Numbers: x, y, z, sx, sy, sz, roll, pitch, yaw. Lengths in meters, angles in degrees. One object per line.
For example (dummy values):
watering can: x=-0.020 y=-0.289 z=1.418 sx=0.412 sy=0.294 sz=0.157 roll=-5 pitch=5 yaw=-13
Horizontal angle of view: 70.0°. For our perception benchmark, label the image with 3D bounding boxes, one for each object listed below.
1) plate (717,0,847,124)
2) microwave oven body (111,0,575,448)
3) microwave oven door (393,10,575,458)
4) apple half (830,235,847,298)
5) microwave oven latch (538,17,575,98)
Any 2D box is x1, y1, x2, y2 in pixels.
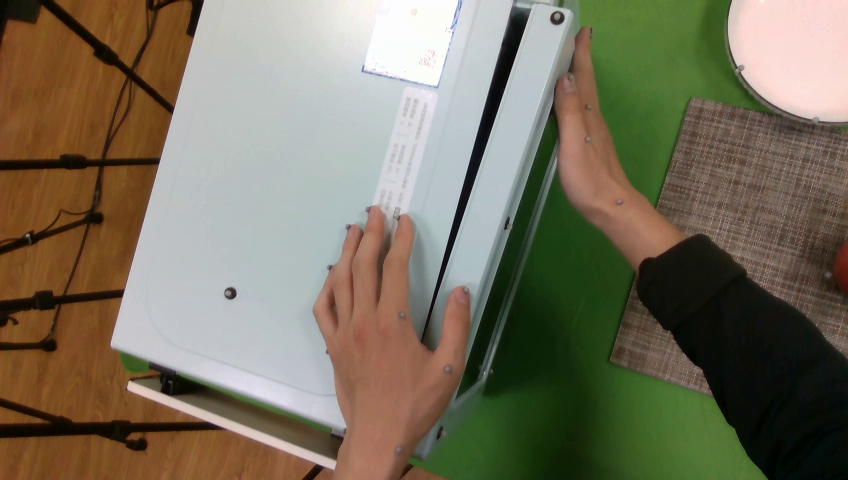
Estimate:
plate: x=0.410 y=-0.219 z=0.621 sx=0.207 sy=0.039 sz=0.207 roll=-1 pitch=86 yaw=14
microwave oven body: x=-0.064 y=-0.075 z=0.612 sx=0.325 sy=0.261 sz=0.441 roll=15 pitch=91 yaw=14
microwave oven door: x=0.068 y=0.004 z=0.569 sx=0.039 sy=0.245 sz=0.355 roll=18 pitch=91 yaw=16
apple half: x=0.420 y=0.026 z=0.579 sx=0.053 sy=0.075 sz=0.080 roll=-4 pitch=89 yaw=20
microwave oven latch: x=0.146 y=-0.200 z=0.668 sx=0.030 sy=0.029 sz=0.079 roll=15 pitch=91 yaw=14
